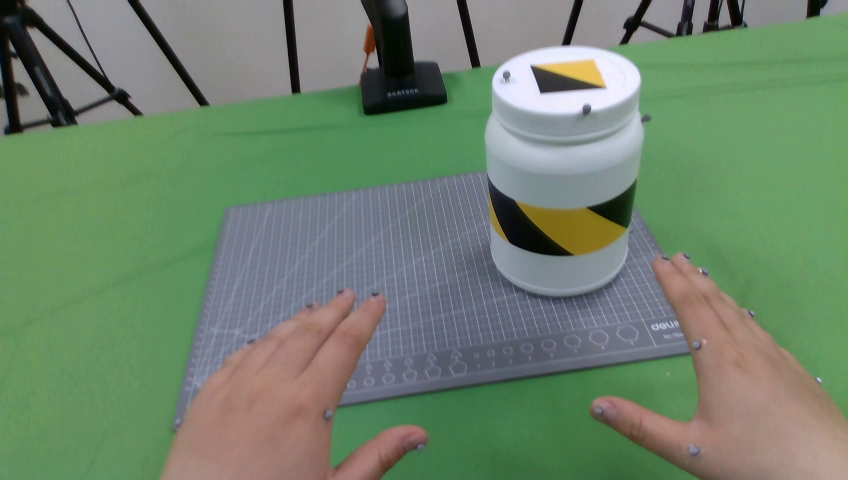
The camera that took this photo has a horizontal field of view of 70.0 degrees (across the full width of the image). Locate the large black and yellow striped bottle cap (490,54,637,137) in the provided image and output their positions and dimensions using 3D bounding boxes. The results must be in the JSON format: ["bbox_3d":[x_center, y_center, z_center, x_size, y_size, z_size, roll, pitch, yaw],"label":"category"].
[{"bbox_3d":[0.110,-0.118,0.482,0.115,0.019,0.114,-3,40,3],"label":"large black and yellow striped bottle cap"}]

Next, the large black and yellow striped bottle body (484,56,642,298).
[{"bbox_3d":[0.120,-0.054,0.536,0.131,0.186,0.129,-5,40,4],"label":"large black and yellow striped bottle body"}]
